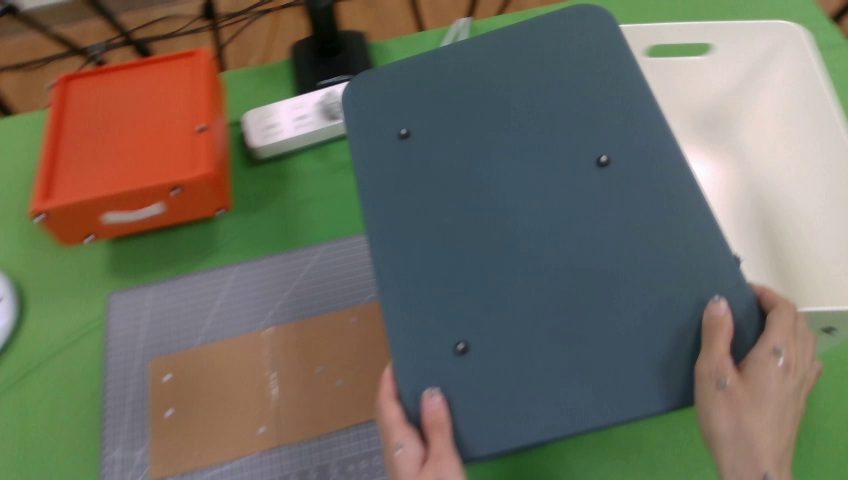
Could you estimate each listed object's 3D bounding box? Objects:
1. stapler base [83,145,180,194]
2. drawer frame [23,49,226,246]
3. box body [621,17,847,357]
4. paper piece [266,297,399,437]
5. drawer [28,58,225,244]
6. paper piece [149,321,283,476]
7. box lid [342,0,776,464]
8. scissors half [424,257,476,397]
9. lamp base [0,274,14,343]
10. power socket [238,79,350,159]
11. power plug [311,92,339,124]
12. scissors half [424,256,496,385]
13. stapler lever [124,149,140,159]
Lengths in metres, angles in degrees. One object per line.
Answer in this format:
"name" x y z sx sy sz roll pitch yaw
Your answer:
"stapler base" -0.364 -0.089 0.742 0.130 0.024 0.041 13 77 14
"drawer frame" -0.354 -0.115 0.736 0.202 0.083 0.211 -13 59 -4
"box body" 0.293 -0.057 0.666 0.254 0.162 0.360 -2 59 2
"paper piece" -0.101 0.134 0.663 0.135 0.004 0.134 -12 59 -3
"drawer" -0.352 -0.114 0.735 0.194 0.074 0.209 -13 59 -3
"paper piece" -0.228 0.167 0.652 0.136 0.009 0.137 -15 61 -1
"box lid" 0.080 -0.030 0.489 0.263 0.015 0.368 -16 63 5
"scissors half" 0.022 0.094 0.687 0.040 0.013 0.173 -32 58 31
"lamp base" -0.576 0.055 0.641 0.178 0.182 0.159 15 61 15
"power socket" -0.148 -0.173 0.837 0.227 0.033 0.071 -19 61 -8
"power plug" -0.130 -0.165 0.805 0.035 0.053 0.072 -9 59 -3
"scissors half" 0.036 0.084 0.679 0.040 0.013 0.173 -42 54 18
"stapler lever" -0.371 -0.096 0.717 0.117 0.040 0.026 13 77 15
